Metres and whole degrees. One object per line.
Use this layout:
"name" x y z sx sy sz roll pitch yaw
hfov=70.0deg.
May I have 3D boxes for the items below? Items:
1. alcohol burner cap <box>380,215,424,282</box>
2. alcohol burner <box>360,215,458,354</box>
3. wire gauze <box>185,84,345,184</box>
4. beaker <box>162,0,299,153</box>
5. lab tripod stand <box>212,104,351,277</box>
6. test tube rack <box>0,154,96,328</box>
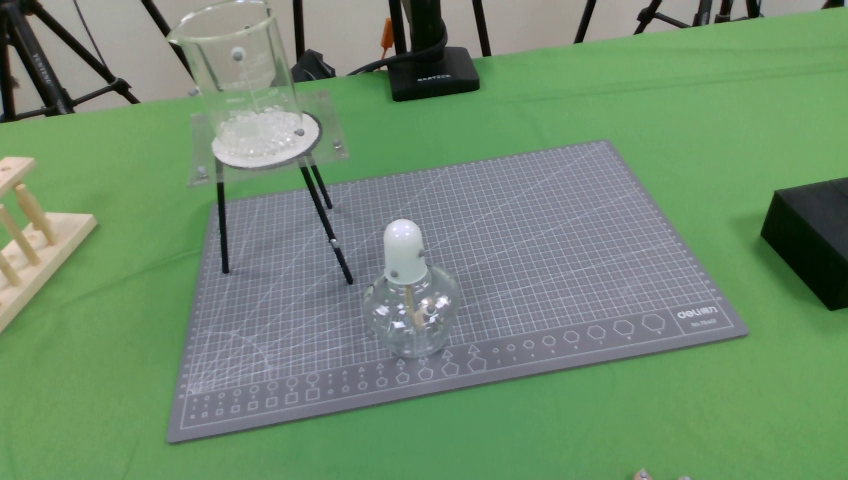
"alcohol burner cap" -0.017 0.005 0.440 0.034 0.048 0.033 -2 39 2
"alcohol burner" -0.013 0.031 0.464 0.078 0.120 0.077 -4 40 4
"wire gauze" -0.135 -0.089 0.501 0.125 0.011 0.120 -15 40 -6
"beaker" -0.143 -0.125 0.468 0.084 0.101 0.073 -14 42 -7
"lab tripod stand" -0.129 -0.041 0.544 0.148 0.133 0.147 -4 43 4
"test tube rack" -0.412 0.025 0.547 0.066 0.086 0.240 3 42 11
